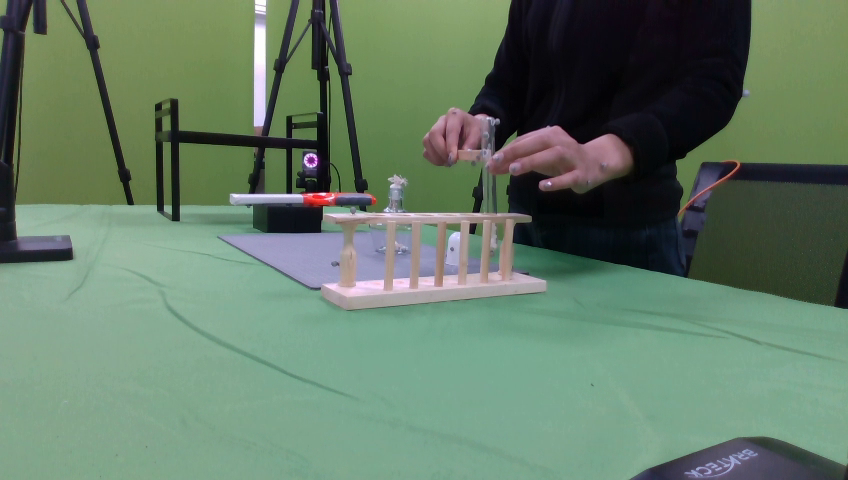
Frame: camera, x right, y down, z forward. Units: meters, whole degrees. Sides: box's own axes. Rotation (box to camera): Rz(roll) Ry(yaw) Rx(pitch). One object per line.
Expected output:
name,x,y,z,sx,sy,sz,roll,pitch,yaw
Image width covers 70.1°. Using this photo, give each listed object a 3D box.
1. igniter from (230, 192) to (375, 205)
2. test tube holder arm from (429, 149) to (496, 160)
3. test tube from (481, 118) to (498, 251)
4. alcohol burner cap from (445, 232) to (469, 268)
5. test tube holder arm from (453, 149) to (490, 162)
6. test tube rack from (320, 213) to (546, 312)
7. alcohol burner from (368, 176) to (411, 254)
igniter,-0.226,-0.079,1.161,0.278,0.025,0.057,-2,15,-28
test tube holder arm,0.048,-0.117,0.828,0.013,0.015,0.177,-11,12,-22
test tube,0.073,-0.062,0.680,0.017,0.150,0.017,-2,5,1
alcohol burner cap,0.046,0.013,0.829,0.034,0.048,0.034,2,8,0
test tube holder arm,0.061,-0.109,0.785,0.010,0.015,0.087,-11,12,-21
test tube rack,0.017,0.017,0.638,0.244,0.085,0.066,-1,9,-31
alcohol burner,-0.045,-0.038,0.912,0.078,0.119,0.078,4,7,0
